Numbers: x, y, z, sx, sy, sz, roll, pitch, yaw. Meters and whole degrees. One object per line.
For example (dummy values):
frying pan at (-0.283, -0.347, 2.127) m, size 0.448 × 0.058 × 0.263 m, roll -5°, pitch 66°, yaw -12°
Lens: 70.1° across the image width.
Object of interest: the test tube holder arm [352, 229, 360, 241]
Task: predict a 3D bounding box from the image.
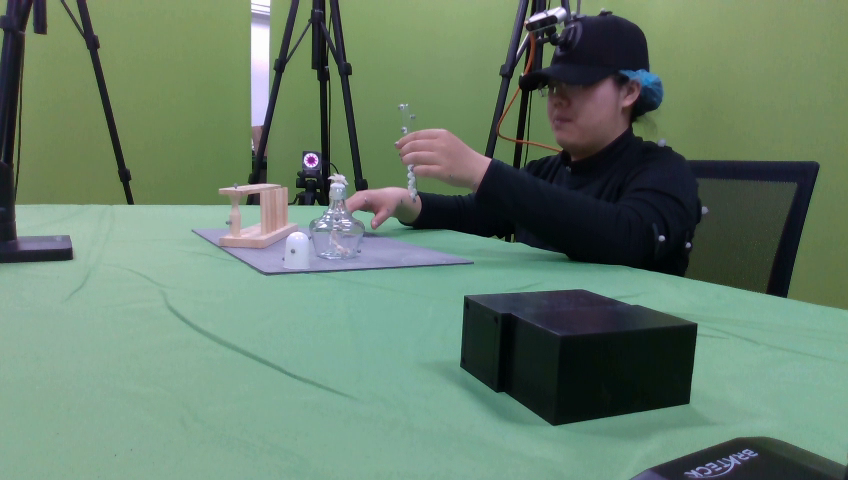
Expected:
test tube holder arm at (-0.120, -0.009, 1.040) m, size 0.010 × 0.015 × 0.087 m, roll 36°, pitch 0°, yaw -12°

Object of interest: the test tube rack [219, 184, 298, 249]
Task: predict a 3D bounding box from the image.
test tube rack at (-0.266, -0.046, 1.001) m, size 0.067 × 0.085 × 0.242 m, roll 3°, pitch 7°, yaw 0°

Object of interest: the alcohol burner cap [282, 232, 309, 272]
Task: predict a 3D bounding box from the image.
alcohol burner cap at (-0.157, 0.014, 0.740) m, size 0.034 × 0.048 × 0.034 m, roll 3°, pitch 6°, yaw 0°

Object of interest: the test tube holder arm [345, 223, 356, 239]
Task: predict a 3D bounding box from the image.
test tube holder arm at (-0.132, -0.018, 1.083) m, size 0.013 × 0.015 × 0.178 m, roll 36°, pitch 0°, yaw -12°

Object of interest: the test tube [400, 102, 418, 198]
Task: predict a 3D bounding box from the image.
test tube at (-0.023, -0.140, 0.947) m, size 0.017 × 0.150 × 0.017 m, roll -5°, pitch 16°, yaw 2°

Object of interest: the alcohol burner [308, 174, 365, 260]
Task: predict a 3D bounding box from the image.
alcohol burner at (-0.121, -0.033, 0.841) m, size 0.078 × 0.119 × 0.078 m, roll 3°, pitch 5°, yaw 0°
